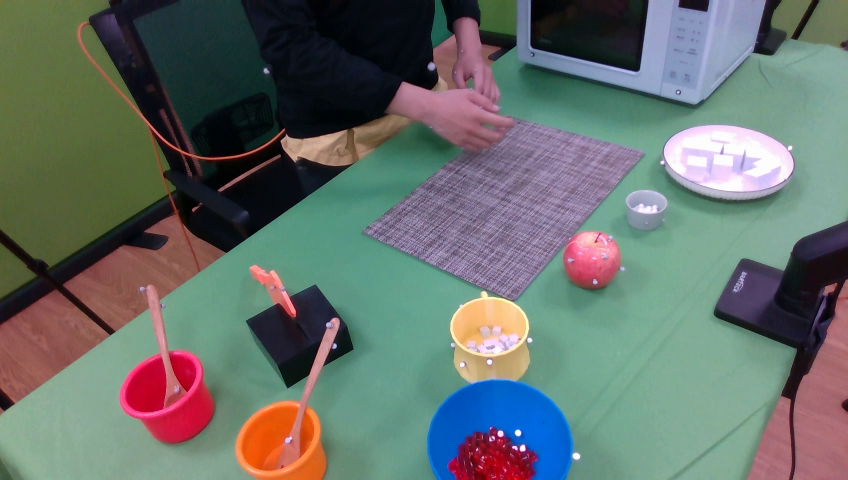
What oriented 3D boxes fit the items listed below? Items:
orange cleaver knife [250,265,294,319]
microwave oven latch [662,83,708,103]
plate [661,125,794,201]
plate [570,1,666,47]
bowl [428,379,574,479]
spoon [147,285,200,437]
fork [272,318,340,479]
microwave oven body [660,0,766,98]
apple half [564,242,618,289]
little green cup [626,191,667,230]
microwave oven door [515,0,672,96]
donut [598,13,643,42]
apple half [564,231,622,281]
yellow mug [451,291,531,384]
[{"bbox_3d":[-0.221,0.073,0.876,0.012,0.077,0.210,-24,12,-22],"label":"orange cleaver knife"},{"bbox_3d":[0.518,-0.296,1.204,0.078,0.029,0.030,27,52,35],"label":"microwave oven latch"},{"bbox_3d":[0.514,-0.128,1.035,0.207,0.039,0.206,-4,40,4],"label":"plate"},{"bbox_3d":[0.437,-0.485,1.370,0.209,0.038,0.208,-4,41,4],"label":"plate"},{"bbox_3d":[0.082,0.233,0.644,0.151,0.077,0.150,-4,39,4],"label":"bowl"},{"bbox_3d":[-0.318,0.148,0.754,0.042,0.021,0.193,-14,85,-11],"label":"spoon"},{"bbox_3d":[-0.131,0.186,0.676,0.028,0.019,0.207,17,90,28],"label":"fork"},{"bbox_3d":[0.472,-0.513,1.317,0.438,0.261,0.327,26,51,34],"label":"microwave oven body"},{"bbox_3d":[0.229,0.044,0.848,0.081,0.081,0.033,16,41,26],"label":"apple half"},{"bbox_3d":[0.352,-0.046,0.963,0.061,0.039,0.061,-4,40,4],"label":"little green cup"},{"bbox_3d":[0.343,-0.455,1.259,0.353,0.245,0.039,26,51,33],"label":"microwave oven door"},{"bbox_3d":[0.438,-0.474,1.346,0.099,0.048,0.098,-17,22,8],"label":"donut"},{"bbox_3d":[0.248,0.021,0.874,0.080,0.075,0.053,13,40,29],"label":"apple half"},{"bbox_3d":[0.085,0.120,0.786,0.100,0.064,0.130,-7,39,1],"label":"yellow mug"}]
